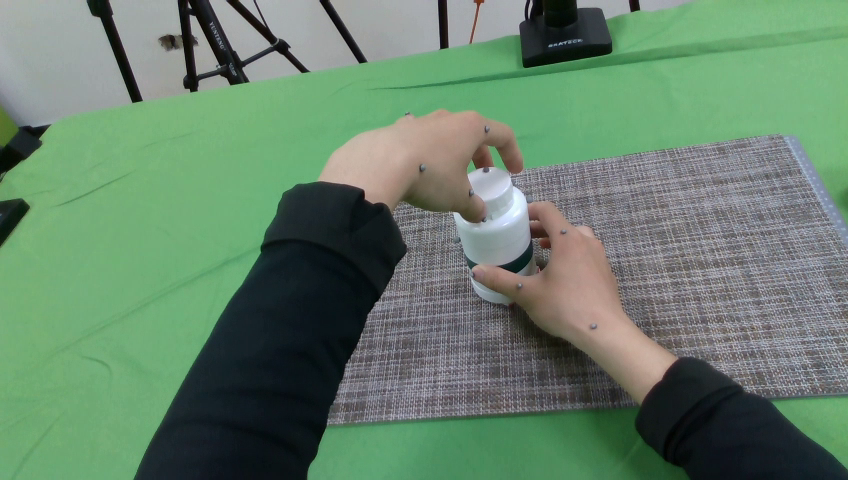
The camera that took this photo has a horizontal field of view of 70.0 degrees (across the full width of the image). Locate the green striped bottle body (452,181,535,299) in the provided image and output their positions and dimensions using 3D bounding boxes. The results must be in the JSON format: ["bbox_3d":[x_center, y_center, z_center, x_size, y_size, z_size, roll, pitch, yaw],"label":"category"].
[{"bbox_3d":[0.061,-0.007,0.532,0.063,0.120,0.062,-9,45,10],"label":"green striped bottle body"}]

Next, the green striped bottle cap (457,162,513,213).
[{"bbox_3d":[0.050,-0.043,0.495,0.044,0.020,0.044,-10,44,10],"label":"green striped bottle cap"}]
